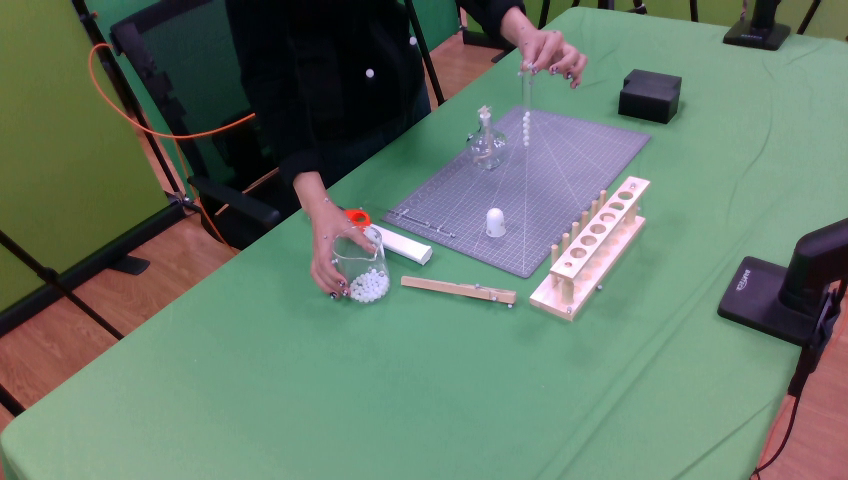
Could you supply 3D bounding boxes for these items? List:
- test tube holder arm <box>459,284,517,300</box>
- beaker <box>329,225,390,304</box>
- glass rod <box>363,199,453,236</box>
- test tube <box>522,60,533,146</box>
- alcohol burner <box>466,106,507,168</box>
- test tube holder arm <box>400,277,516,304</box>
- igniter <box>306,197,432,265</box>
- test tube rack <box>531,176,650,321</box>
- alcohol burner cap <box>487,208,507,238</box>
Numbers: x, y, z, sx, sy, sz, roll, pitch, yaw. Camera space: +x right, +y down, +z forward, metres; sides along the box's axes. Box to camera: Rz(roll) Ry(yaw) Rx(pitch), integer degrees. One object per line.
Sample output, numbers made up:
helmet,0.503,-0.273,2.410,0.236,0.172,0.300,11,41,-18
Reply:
test tube holder arm,0.091,0.077,0.877,0.087,0.015,0.010,7,9,20
beaker,-0.089,0.040,0.890,0.074,0.101,0.083,-31,45,-24
glass rod,-0.031,-0.041,1.041,0.198,0.008,0.008,22,50,31
test tube,0.164,-0.214,0.959,0.017,0.151,0.017,-4,42,4
alcohol burner,0.114,-0.193,1.112,0.078,0.119,0.077,-4,41,4
test tube holder arm,0.047,0.073,0.887,0.177,0.015,0.013,7,9,19
igniter,-0.102,-0.020,1.019,0.274,0.025,0.057,23,59,32
test tube rack,0.246,0.002,0.884,0.066,0.085,0.243,22,49,32
alcohol burner cap,0.116,-0.030,0.975,0.034,0.048,0.033,-6,40,5
